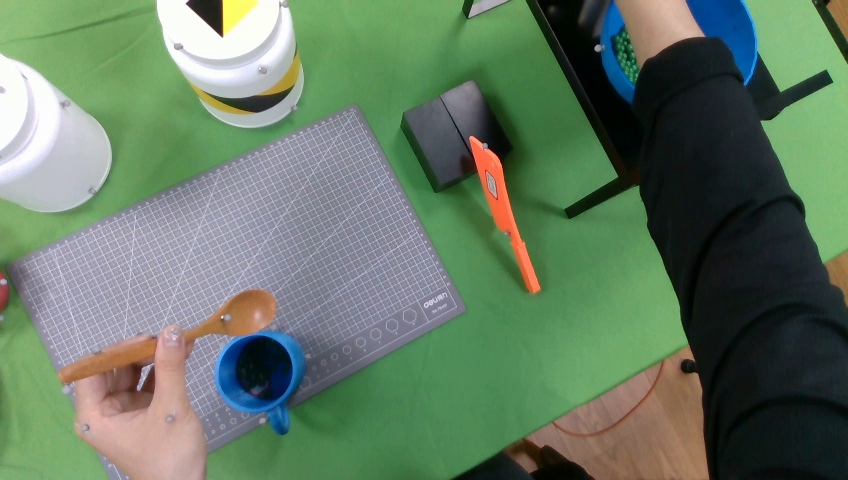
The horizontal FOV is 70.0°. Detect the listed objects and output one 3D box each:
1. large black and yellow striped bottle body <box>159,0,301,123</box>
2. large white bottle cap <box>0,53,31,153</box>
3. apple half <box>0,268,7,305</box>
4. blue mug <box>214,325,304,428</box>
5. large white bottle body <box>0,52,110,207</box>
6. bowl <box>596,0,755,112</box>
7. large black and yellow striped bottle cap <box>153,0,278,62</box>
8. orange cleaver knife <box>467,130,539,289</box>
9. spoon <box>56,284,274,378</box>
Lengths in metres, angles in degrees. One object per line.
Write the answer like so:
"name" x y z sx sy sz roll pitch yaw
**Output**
"large black and yellow striped bottle body" -0.210 -0.218 0.669 0.131 0.184 0.130 1 82 -6
"large white bottle cap" -0.419 -0.125 0.545 0.115 0.018 0.114 1 83 -6
"apple half" -0.491 0.061 0.656 0.081 0.074 0.053 -42 93 -13
"blue mug" -0.173 0.151 0.667 0.082 0.106 0.116 -19 86 -9
"large white bottle body" -0.427 -0.114 0.629 0.131 0.185 0.130 1 82 -6
"bowl" 0.231 -0.189 0.594 0.152 0.077 0.151 1 83 -7
"large black and yellow striped bottle cap" -0.201 -0.231 0.587 0.115 0.019 0.114 1 84 -9
"orange cleaver knife" 0.095 -0.034 0.735 0.012 0.076 0.213 -28 118 -11
"spoon" -0.185 0.069 0.467 0.021 0.194 0.042 9 102 23
